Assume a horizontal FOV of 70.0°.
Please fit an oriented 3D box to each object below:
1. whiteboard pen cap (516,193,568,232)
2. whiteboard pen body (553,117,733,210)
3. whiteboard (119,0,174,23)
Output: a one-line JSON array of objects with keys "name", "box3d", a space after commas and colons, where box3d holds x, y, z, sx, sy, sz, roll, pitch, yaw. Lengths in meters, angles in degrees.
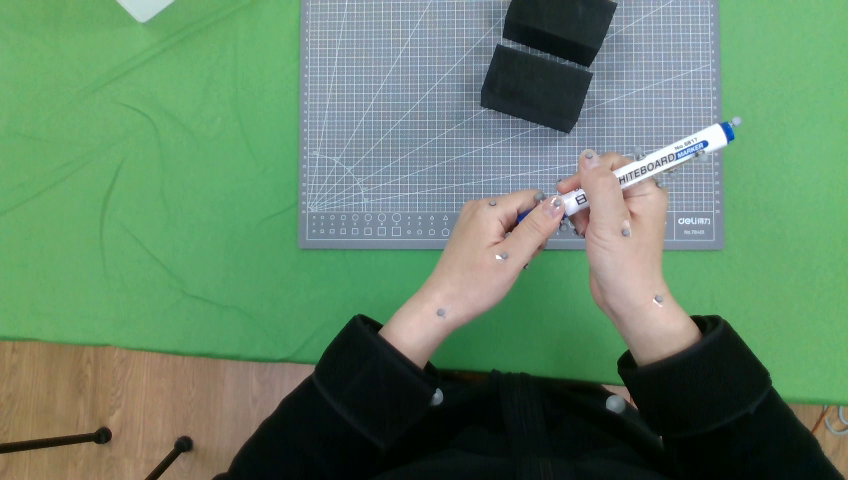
[{"name": "whiteboard pen cap", "box3d": [0.082, -0.019, 0.420, 0.033, 0.018, 0.018, -26, 85, 16]}, {"name": "whiteboard pen body", "box3d": [0.133, -0.044, 0.403, 0.140, 0.017, 0.017, -25, 85, 16]}, {"name": "whiteboard", "box3d": [-0.305, -0.409, 0.569, 0.217, 0.308, 0.142, -35, 65, 1]}]
